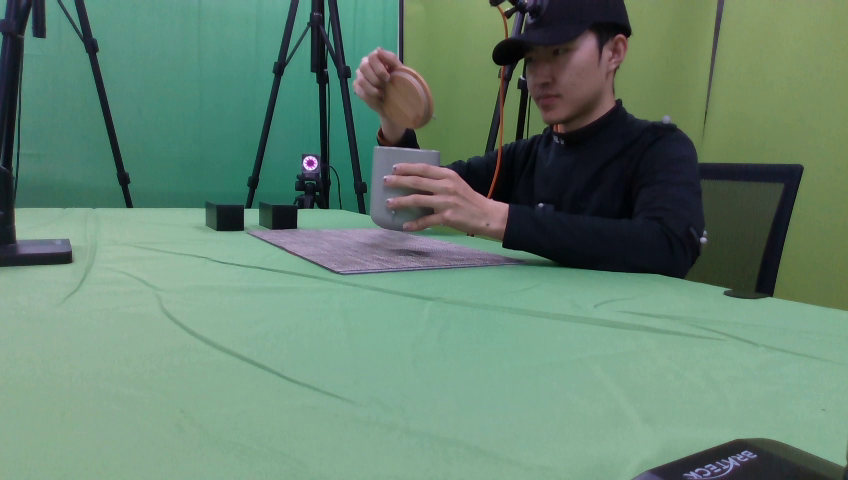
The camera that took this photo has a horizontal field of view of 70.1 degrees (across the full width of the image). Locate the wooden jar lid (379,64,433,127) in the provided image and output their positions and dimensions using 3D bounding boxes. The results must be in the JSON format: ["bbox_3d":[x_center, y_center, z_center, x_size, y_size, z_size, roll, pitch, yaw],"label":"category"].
[{"bbox_3d":[-0.035,-0.239,1.014,0.108,0.108,0.021,8,35,39],"label":"wooden jar lid"}]

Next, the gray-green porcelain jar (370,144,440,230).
[{"bbox_3d":[-0.031,-0.083,0.948,0.106,0.126,0.106,4,10,0],"label":"gray-green porcelain jar"}]
